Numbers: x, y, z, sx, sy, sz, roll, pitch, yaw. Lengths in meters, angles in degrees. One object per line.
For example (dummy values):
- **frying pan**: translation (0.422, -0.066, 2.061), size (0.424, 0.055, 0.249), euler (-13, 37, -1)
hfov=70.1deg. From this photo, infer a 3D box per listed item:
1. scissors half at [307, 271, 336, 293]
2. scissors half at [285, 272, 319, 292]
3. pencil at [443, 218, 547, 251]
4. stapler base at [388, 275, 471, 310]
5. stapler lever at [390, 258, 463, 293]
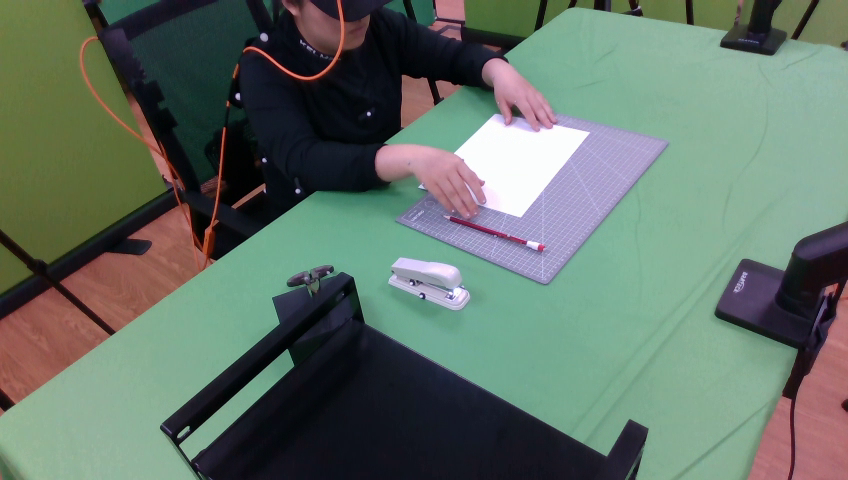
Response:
- **scissors half**: translation (-0.152, 0.061, 0.872), size (0.040, 0.013, 0.175), euler (-3, 6, -4)
- **scissors half**: translation (-0.171, 0.063, 0.868), size (0.040, 0.013, 0.174), euler (-10, 7, -21)
- **pencil**: translation (0.110, -0.012, 0.980), size (0.192, 0.012, 0.012), euler (18, 46, 30)
- **stapler base**: translation (0.007, 0.066, 0.897), size (0.129, 0.024, 0.041), euler (17, 43, 29)
- **stapler lever**: translation (0.003, 0.046, 0.881), size (0.117, 0.040, 0.027), euler (17, 44, 29)
